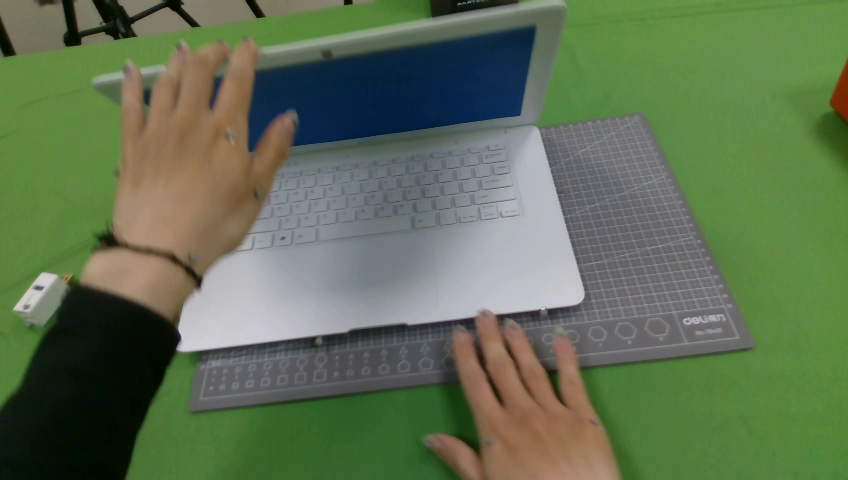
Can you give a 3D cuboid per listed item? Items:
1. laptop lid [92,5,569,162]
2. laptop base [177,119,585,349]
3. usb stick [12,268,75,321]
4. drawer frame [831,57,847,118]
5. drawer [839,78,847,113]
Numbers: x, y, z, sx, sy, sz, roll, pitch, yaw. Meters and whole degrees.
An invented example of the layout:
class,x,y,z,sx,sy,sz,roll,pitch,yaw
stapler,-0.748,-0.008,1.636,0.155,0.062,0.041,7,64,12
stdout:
class,x,y,z,sx,sy,sz,roll,pitch,yaw
laptop lid,-0.062,-0.126,0.541,0.356,0.242,0.013,-8,82,5
laptop base,-0.045,-0.014,0.585,0.354,0.023,0.233,-7,52,3
usb stick,-0.360,0.046,0.579,0.021,0.027,0.059,7,48,17
drawer frame,0.521,-0.105,0.528,0.202,0.083,0.211,-11,48,0
drawer,0.521,-0.104,0.528,0.194,0.074,0.209,-11,48,1
